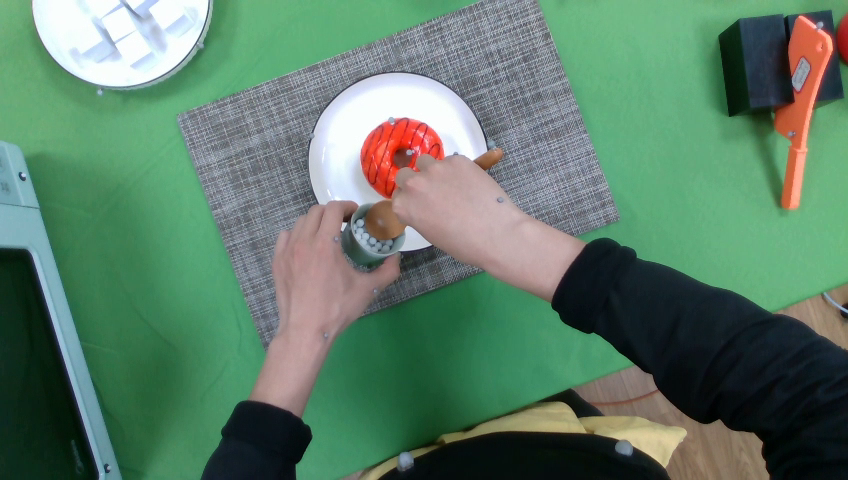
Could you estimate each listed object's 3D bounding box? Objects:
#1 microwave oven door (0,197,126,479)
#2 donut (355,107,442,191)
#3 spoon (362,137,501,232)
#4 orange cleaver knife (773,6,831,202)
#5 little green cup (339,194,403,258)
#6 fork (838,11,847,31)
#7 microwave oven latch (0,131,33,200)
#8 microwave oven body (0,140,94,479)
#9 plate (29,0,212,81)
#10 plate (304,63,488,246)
[{"bbox_3d":[-0.412,0.125,0.584,0.039,0.244,0.355,-18,89,0],"label":"microwave oven door"},{"bbox_3d":[-0.029,-0.101,0.688,0.099,0.048,0.099,0,92,1],"label":"donut"},{"bbox_3d":[0.002,-0.048,0.563,0.021,0.193,0.042,-41,100,-39],"label":"spoon"},{"bbox_3d":[0.413,-0.147,0.679,0.012,0.076,0.213,-5,119,3],"label":"orange cleaver knife"},{"bbox_3d":[-0.057,-0.012,0.625,0.062,0.039,0.061,14,57,-22],"label":"little green cup"},{"bbox_3d":[0.567,-0.246,0.647,0.206,0.019,0.028,8,88,42],"label":"fork"},{"bbox_3d":[-0.474,-0.083,0.687,0.030,0.029,0.079,-17,90,0],"label":"microwave oven latch"},{"bbox_3d":[-0.564,0.128,0.590,0.326,0.260,0.441,-18,90,0],"label":"microwave oven body"},{"bbox_3d":[-0.347,-0.285,0.706,0.208,0.039,0.207,0,90,0],"label":"plate"},{"bbox_3d":[-0.032,-0.097,0.700,0.209,0.038,0.209,0,90,1],"label":"plate"}]
